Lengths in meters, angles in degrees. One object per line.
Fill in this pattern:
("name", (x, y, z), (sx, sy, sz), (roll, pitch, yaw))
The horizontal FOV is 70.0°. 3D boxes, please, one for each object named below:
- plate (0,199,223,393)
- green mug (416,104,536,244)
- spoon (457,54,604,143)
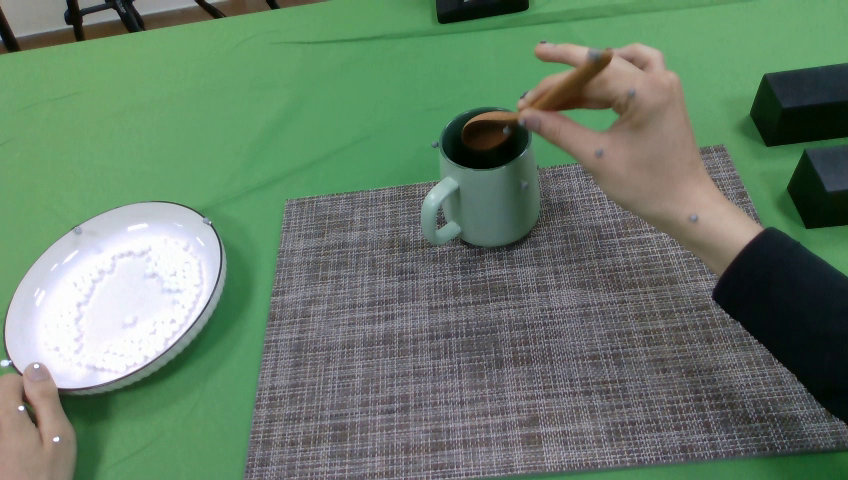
("plate", (-0.288, 0.050, 0.575), (0.209, 0.038, 0.207), (-5, 53, 7))
("green mug", (0.042, -0.047, 0.541), (0.125, 0.106, 0.091), (-42, 58, -20))
("spoon", (0.073, -0.098, 0.443), (0.042, 0.193, 0.021), (10, 86, -19))
